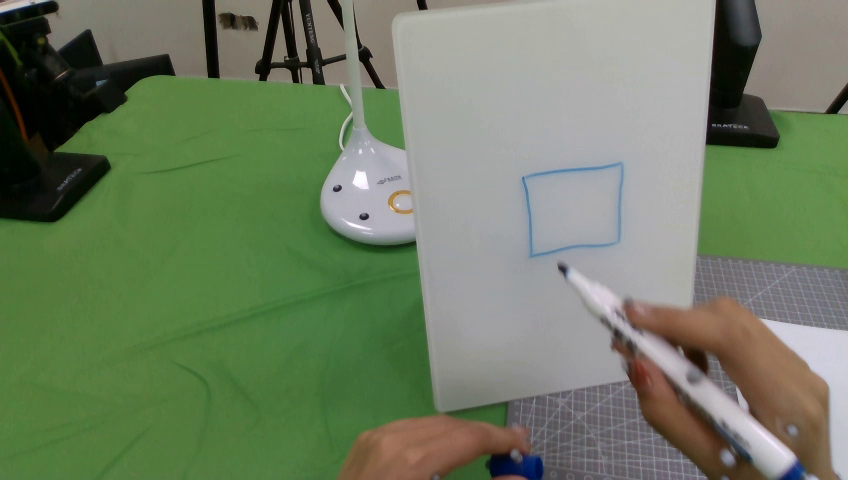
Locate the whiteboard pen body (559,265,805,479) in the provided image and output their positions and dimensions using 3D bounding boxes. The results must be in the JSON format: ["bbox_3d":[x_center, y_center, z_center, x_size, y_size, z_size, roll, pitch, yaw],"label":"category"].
[{"bbox_3d":[0.116,0.058,0.292,0.017,0.017,0.139,-29,58,-27],"label":"whiteboard pen body"}]

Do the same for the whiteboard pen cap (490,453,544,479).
[{"bbox_3d":[0.061,0.147,0.391,0.033,0.018,0.018,-6,36,30],"label":"whiteboard pen cap"}]

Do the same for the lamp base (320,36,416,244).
[{"bbox_3d":[-0.049,-0.114,0.649,0.161,0.182,0.177,-28,44,-26],"label":"lamp base"}]

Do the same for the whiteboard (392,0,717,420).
[{"bbox_3d":[0.093,-0.036,0.502,0.217,0.307,0.142,-8,22,-5],"label":"whiteboard"}]
